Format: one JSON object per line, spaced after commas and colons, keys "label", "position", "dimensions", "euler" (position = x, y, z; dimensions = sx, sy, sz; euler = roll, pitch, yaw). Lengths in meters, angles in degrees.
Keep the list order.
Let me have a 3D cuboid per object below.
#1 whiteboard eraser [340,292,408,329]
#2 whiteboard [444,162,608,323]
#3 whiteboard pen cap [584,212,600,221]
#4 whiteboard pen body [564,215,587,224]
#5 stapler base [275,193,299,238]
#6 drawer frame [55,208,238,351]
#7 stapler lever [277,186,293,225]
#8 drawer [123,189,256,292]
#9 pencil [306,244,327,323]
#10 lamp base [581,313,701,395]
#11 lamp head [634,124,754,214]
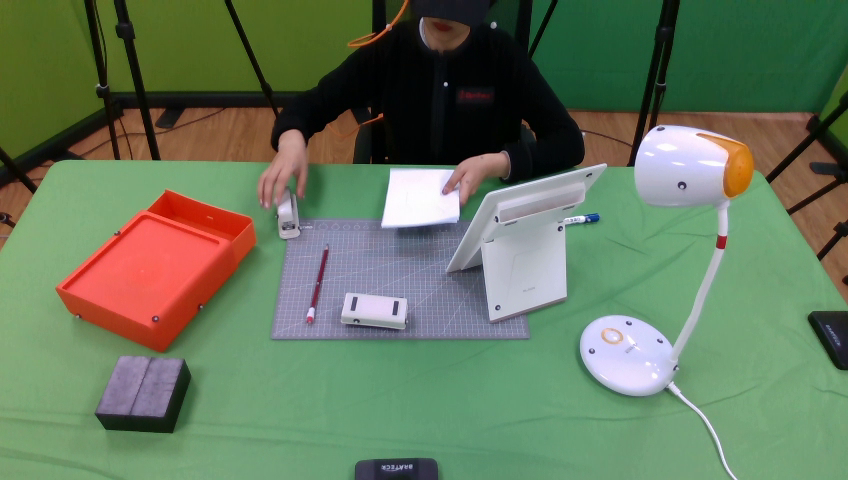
{"label": "whiteboard eraser", "position": [-0.087, 0.125, 1.052], "dimensions": [0.113, 0.042, 0.055], "euler": [5, 45, 1]}
{"label": "whiteboard", "position": [0.186, 0.026, 1.028], "dimensions": [0.217, 0.306, 0.143], "euler": [-14, 68, -18]}
{"label": "whiteboard pen cap", "position": [0.351, -0.049, 1.271], "dimensions": [0.033, 0.018, 0.018], "euler": [-6, 47, -12]}
{"label": "whiteboard pen body", "position": [0.291, -0.040, 1.261], "dimensions": [0.141, 0.017, 0.017], "euler": [-6, 47, -11]}
{"label": "stapler base", "position": [-0.279, -0.056, 1.228], "dimensions": [0.041, 0.024, 0.129], "euler": [-7, 44, -12]}
{"label": "drawer frame", "position": [-0.474, 0.062, 1.059], "dimensions": [0.201, 0.083, 0.213], "euler": [19, 48, 13]}
{"label": "stapler lever", "position": [-0.280, -0.076, 1.211], "dimensions": [0.027, 0.040, 0.117], "euler": [-7, 44, -12]}
{"label": "drawer", "position": [-0.449, 0.018, 1.105], "dimensions": [0.194, 0.073, 0.211], "euler": [19, 48, 12]}
{"label": "pencil", "position": [-0.196, 0.076, 1.115], "dimensions": [0.012, 0.012, 0.193], "euler": [4, 44, 0]}
{"label": "lamp base", "position": [0.361, 0.144, 0.972], "dimensions": [0.178, 0.181, 0.160], "euler": [34, 53, 23]}
{"label": "lamp head", "position": [0.351, -0.089, 0.775], "dimensions": [0.112, 0.113, 0.122], "euler": [-30, 30, -28]}
